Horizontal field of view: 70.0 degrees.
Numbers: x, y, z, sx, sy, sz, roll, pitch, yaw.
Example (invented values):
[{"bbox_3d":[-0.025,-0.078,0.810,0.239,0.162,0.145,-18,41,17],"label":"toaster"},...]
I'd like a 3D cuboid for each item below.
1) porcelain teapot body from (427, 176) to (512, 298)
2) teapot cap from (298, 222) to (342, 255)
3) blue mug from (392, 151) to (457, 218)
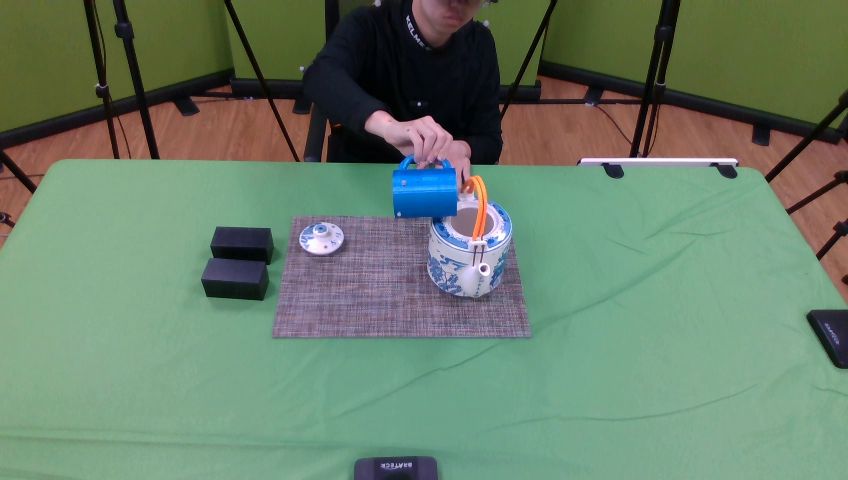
[{"bbox_3d":[0.085,0.010,1.051,0.145,0.226,0.204,-5,47,-8],"label":"porcelain teapot body"},{"bbox_3d":[-0.201,-0.008,1.171,0.085,0.044,0.084,1,47,-1],"label":"teapot cap"},{"bbox_3d":[0.001,-0.095,1.019,0.106,0.082,0.116,-2,77,1],"label":"blue mug"}]
